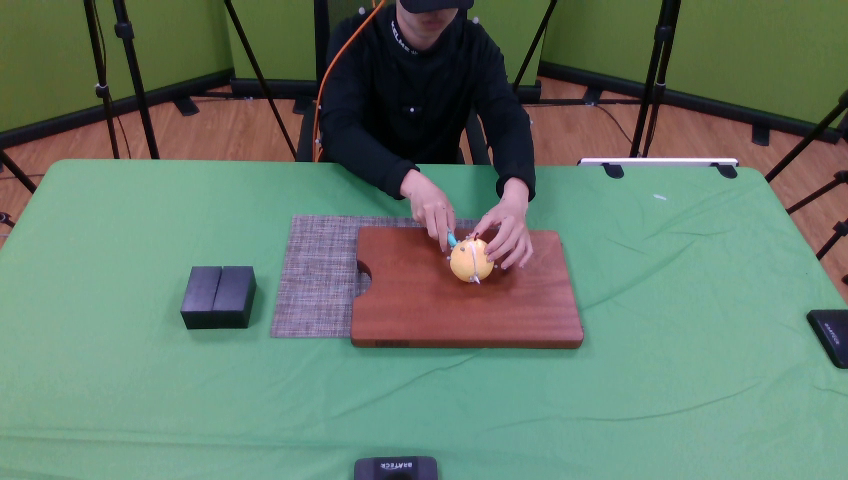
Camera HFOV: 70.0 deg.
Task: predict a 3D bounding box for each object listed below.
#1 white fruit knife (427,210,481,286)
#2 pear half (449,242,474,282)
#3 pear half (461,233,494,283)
[{"bbox_3d":[0.054,0.010,1.119,0.016,0.027,0.206,-19,50,-18],"label":"white fruit knife"},{"bbox_3d":[0.063,0.041,1.081,0.031,0.088,0.070,-24,54,-19],"label":"pear half"},{"bbox_3d":[0.099,0.023,1.086,0.056,0.110,0.076,-20,54,-21],"label":"pear half"}]
